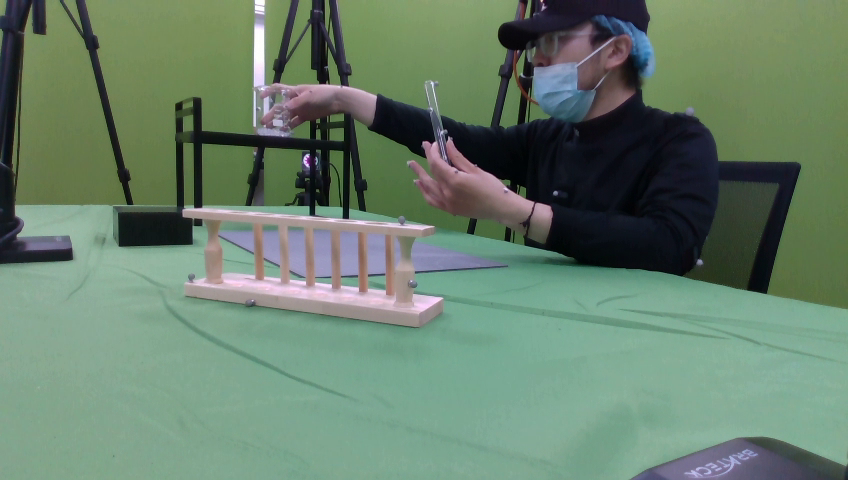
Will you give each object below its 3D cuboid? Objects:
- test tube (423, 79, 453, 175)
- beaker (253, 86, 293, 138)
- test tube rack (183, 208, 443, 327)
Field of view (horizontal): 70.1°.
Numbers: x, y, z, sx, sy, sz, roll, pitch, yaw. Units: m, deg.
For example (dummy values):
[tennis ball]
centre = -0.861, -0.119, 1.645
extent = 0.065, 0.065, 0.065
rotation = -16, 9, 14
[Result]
[test tube]
centre = 0.022, -0.172, 0.920
extent = 0.017, 0.150, 0.017
rotation = -12, -3, 0
[beaker]
centre = -0.311, -0.262, 1.244
extent = 0.084, 0.100, 0.073
rotation = -5, 10, -41
[test tube rack]
centre = -0.106, 0.019, 0.570
extent = 0.241, 0.085, 0.067
rotation = 5, 8, 19
